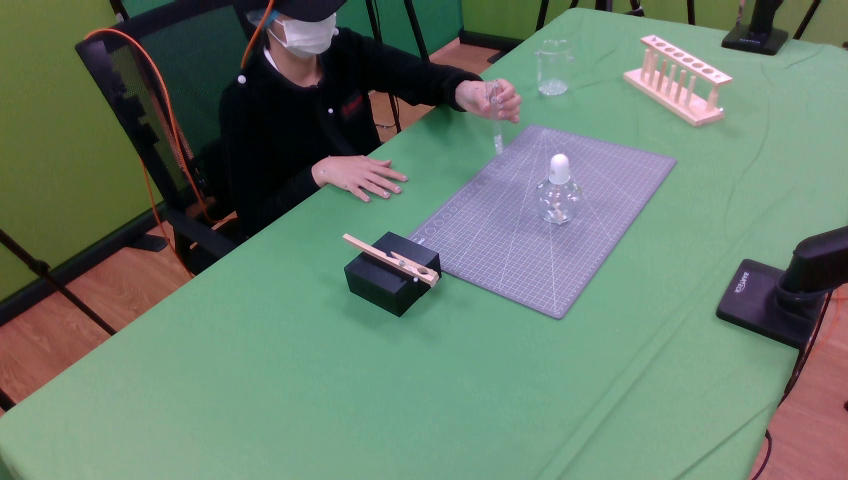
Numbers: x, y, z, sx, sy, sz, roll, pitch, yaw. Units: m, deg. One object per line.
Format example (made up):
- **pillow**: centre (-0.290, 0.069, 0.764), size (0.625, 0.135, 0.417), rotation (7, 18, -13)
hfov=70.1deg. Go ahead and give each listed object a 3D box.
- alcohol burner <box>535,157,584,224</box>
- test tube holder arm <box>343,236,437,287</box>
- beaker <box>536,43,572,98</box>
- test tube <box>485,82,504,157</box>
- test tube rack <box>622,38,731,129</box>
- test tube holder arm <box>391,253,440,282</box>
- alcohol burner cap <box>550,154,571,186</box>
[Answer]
- **alcohol burner**: centre (0.217, -0.085, 0.967), size (0.078, 0.119, 0.077), rotation (-3, 41, 3)
- **test tube holder arm**: centre (-0.054, 0.029, 0.879), size (0.177, 0.015, 0.013), rotation (22, 56, 32)
- **beaker**: centre (0.280, -0.368, 1.311), size (0.074, 0.101, 0.084), rotation (4, 41, 14)
- **test tube**: centre (0.122, -0.202, 1.031), size (0.017, 0.151, 0.017), rotation (-8, 46, 9)
- **test tube rack**: centre (0.506, -0.325, 1.234), size (0.067, 0.085, 0.240), rotation (-18, 41, -11)
- **test tube holder arm**: centre (-0.015, 0.039, 0.858), size (0.087, 0.015, 0.010), rotation (22, 57, 32)
- **alcohol burner cap**: centre (0.212, -0.112, 0.944), size (0.034, 0.048, 0.033), rotation (-6, 44, 7)
